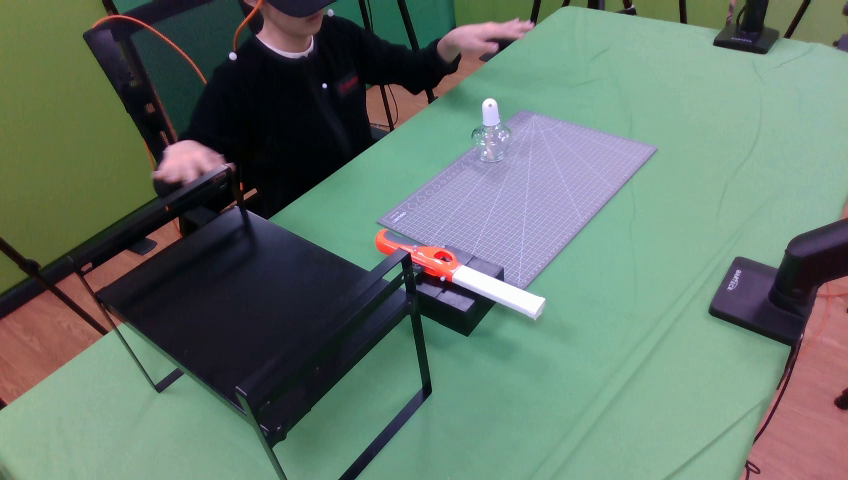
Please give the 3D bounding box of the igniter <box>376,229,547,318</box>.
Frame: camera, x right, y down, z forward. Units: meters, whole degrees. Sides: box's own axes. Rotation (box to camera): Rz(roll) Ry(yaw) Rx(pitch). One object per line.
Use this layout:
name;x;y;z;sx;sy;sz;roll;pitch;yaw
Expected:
igniter;0.040;0.041;0.845;0.274;0.025;0.057;22;46;27

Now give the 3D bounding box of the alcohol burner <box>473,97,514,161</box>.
alcohol burner;0.127;-0.208;1.123;0.078;0.119;0.077;-5;39;5

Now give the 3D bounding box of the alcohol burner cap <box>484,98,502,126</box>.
alcohol burner cap;0.124;-0.235;1.101;0.034;0.048;0.033;-7;38;6
